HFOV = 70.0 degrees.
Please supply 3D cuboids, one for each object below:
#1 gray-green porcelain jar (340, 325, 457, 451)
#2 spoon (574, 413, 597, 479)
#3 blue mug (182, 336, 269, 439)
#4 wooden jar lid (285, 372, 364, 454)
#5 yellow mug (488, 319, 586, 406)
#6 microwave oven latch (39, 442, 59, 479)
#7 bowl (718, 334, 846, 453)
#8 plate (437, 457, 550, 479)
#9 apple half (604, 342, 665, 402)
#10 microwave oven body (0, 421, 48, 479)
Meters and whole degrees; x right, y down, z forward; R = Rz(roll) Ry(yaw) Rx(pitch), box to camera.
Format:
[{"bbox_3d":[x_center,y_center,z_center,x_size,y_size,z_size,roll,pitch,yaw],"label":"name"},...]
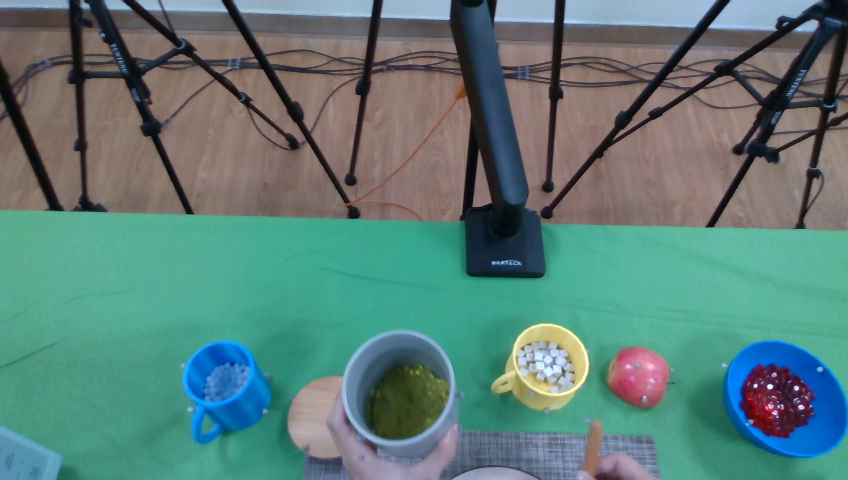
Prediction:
[{"bbox_3d":[-0.020,0.154,0.611,0.106,0.127,0.105,-2,65,4],"label":"gray-green porcelain jar"},{"bbox_3d":[0.154,0.262,0.611,0.041,0.194,0.021,12,20,18],"label":"spoon"},{"bbox_3d":[-0.252,0.191,0.753,0.082,0.106,0.116,20,60,9],"label":"blue mug"},{"bbox_3d":[-0.124,0.225,0.785,0.108,0.021,0.107,1,56,-1],"label":"wooden jar lid"},{"bbox_3d":[0.145,0.169,0.807,0.131,0.064,0.099,-19,62,-13],"label":"yellow mug"},{"bbox_3d":[-0.458,0.278,0.709,0.030,0.030,0.078,5,60,1],"label":"microwave oven latch"},{"bbox_3d":[0.449,0.207,0.790,0.151,0.077,0.150,1,60,-1],"label":"bowl"},{"bbox_3d":[0.083,0.362,0.700,0.208,0.039,0.205,1,59,-2],"label":"plate"},{"bbox_3d":[0.288,0.172,0.819,0.074,0.054,0.080,20,60,12],"label":"apple half"},{"bbox_3d":[-0.606,0.375,0.532,0.326,0.262,0.437,2,59,-1],"label":"microwave oven body"}]
